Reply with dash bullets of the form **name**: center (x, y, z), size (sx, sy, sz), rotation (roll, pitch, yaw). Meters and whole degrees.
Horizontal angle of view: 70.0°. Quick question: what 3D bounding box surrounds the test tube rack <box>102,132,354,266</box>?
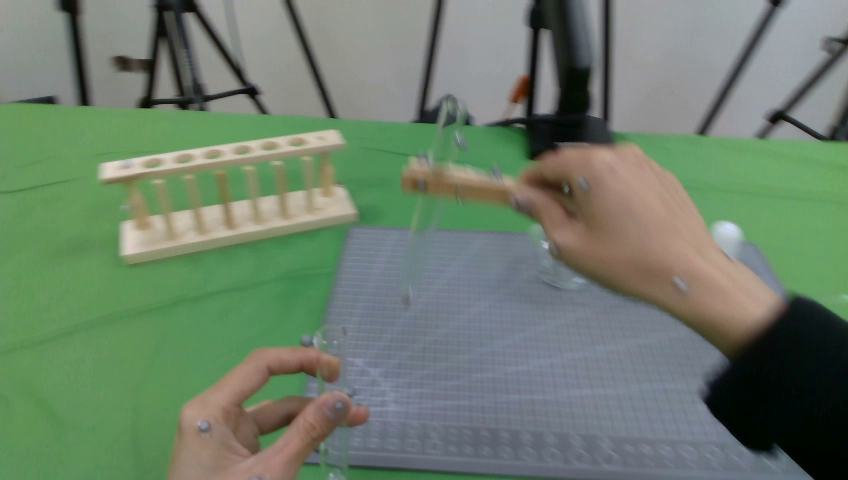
- **test tube rack**: center (-0.203, -0.048, 0.652), size (0.243, 0.086, 0.066), rotation (-12, 39, -17)

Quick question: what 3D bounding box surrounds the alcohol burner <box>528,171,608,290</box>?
- **alcohol burner**: center (0.141, -0.012, 0.585), size (0.078, 0.120, 0.077), rotation (0, 35, 0)

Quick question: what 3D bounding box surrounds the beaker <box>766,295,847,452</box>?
- **beaker**: center (0.305, 0.100, 0.451), size (0.074, 0.101, 0.083), rotation (-15, 39, -21)

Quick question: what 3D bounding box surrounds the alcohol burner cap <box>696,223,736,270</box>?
- **alcohol burner cap**: center (0.306, 0.004, 0.630), size (0.034, 0.048, 0.033), rotation (1, 37, 0)

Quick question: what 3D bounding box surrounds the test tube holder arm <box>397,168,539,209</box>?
- **test tube holder arm**: center (0.026, -0.032, 0.373), size (0.088, 0.015, 0.010), rotation (8, 38, 7)

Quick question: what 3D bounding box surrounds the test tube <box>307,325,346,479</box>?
- **test tube**: center (-0.051, 0.111, 0.330), size (0.017, 0.151, 0.017), rotation (2, 27, -1)

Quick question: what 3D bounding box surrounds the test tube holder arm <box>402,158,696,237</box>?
- **test tube holder arm**: center (0.071, -0.027, 0.369), size (0.178, 0.015, 0.013), rotation (12, 39, 12)

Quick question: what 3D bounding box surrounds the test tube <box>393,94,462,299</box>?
- **test tube**: center (0.000, -0.021, 0.391), size (0.017, 0.151, 0.017), rotation (10, 33, -6)
